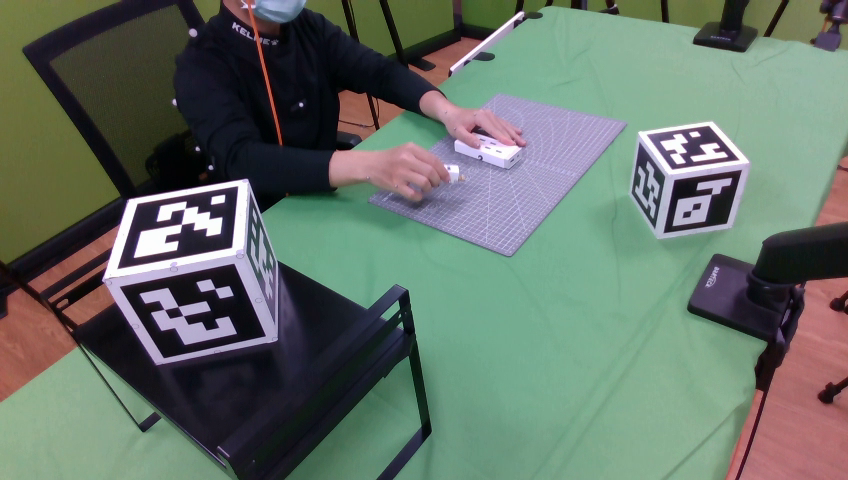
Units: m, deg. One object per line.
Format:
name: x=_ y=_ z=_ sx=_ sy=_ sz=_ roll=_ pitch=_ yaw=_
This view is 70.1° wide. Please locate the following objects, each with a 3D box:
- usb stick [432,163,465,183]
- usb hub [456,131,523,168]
usb stick: x=0.044 y=-0.115 z=1.041 sx=0.059 sy=0.027 sz=0.021 roll=7 pitch=40 yaw=-10
usb hub: x=0.123 y=-0.172 z=1.147 sx=0.124 sy=0.025 sz=0.050 roll=25 pitch=48 yaw=33
